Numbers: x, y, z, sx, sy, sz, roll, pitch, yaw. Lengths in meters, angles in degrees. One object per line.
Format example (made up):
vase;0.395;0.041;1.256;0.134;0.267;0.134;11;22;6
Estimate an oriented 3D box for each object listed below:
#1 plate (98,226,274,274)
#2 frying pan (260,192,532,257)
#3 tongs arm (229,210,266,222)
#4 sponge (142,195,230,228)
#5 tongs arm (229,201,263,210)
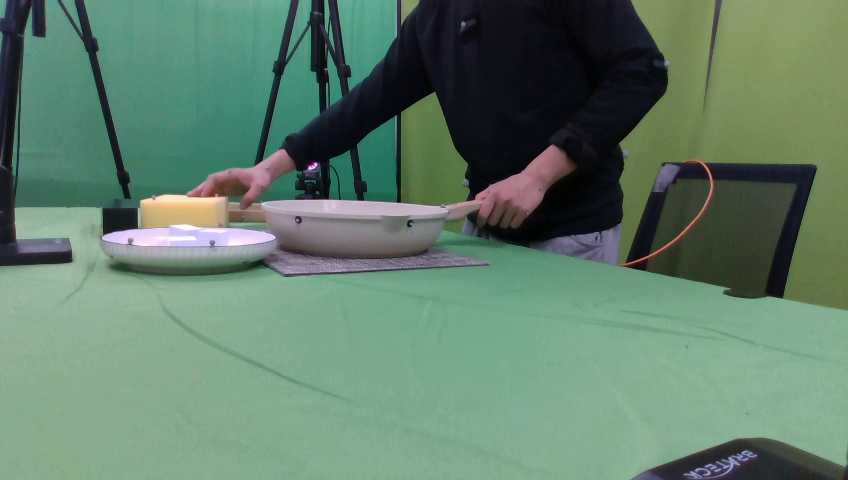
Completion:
plate;-0.301;0.012;0.778;0.208;0.039;0.207;3;7;0
frying pan;-0.017;-0.043;1.006;0.490;0.102;0.305;-11;13;-26
tongs arm;-0.280;-0.055;1.355;0.389;0.028;0.028;-1;6;-28
sponge;-0.425;-0.047;1.098;0.118;0.061;0.206;-1;7;-13
tongs arm;-0.306;-0.070;1.430;0.386;0.026;0.050;2;8;-15
